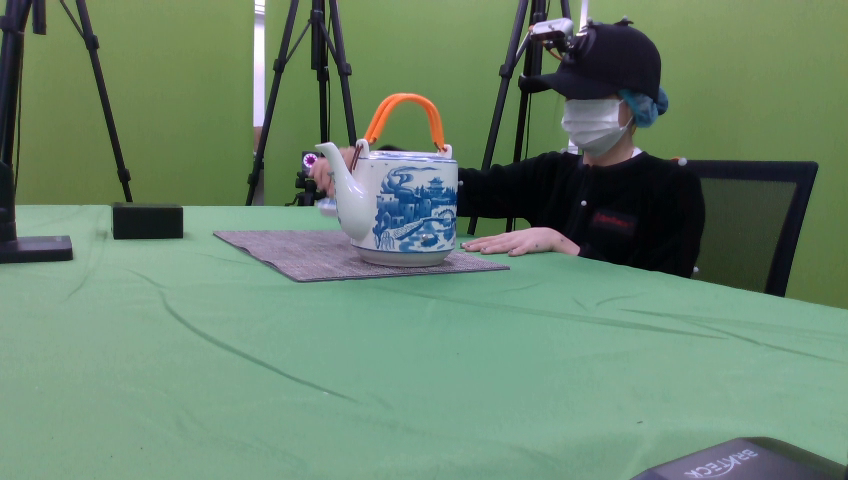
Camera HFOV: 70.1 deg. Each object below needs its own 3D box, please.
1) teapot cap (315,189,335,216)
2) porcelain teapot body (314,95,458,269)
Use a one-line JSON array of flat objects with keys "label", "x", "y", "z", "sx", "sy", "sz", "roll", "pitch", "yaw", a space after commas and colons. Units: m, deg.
[{"label": "teapot cap", "x": -0.137, "y": -0.065, "z": 0.991, "sx": 0.085, "sy": 0.044, "sz": 0.085, "roll": 3, "pitch": 14, "yaw": 0}, {"label": "porcelain teapot body", "x": -0.049, "y": -0.079, "z": 0.800, "sx": 0.206, "sy": 0.225, "sz": 0.144, "roll": -3, "pitch": 9, "yaw": -37}]
